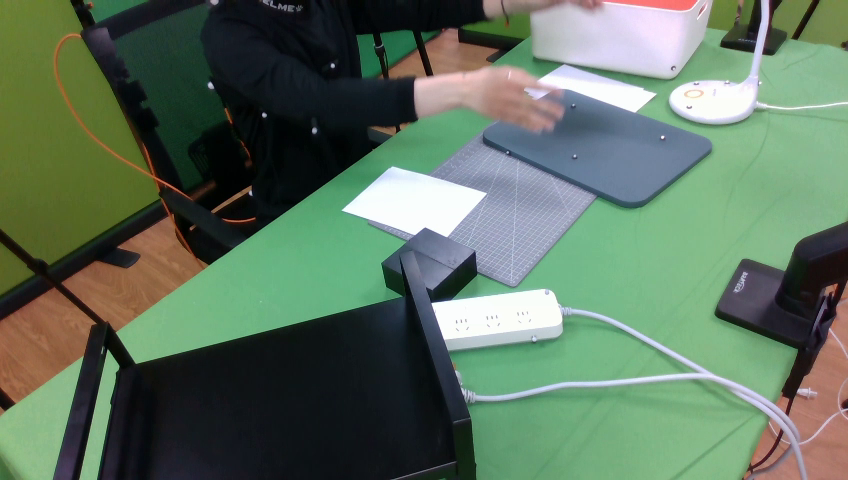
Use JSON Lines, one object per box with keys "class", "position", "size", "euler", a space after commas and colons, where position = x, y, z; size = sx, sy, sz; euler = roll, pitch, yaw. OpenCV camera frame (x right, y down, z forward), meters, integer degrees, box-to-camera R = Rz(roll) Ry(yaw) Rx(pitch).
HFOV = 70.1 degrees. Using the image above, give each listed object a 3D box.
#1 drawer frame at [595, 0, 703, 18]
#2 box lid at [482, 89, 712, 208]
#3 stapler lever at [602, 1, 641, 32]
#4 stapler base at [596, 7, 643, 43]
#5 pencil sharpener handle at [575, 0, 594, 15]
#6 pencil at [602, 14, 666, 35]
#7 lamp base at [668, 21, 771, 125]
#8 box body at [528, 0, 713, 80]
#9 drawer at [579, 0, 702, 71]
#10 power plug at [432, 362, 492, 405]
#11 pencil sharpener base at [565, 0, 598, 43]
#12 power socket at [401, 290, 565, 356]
{"class": "drawer frame", "position": [0.487, -0.490, 1.360], "size": [0.212, 0.083, 0.202], "euler": [24, 62, 20]}
{"class": "box lid", "position": [0.320, -0.190, 1.156], "size": [0.264, 0.015, 0.368], "euler": [-33, 47, -28]}
{"class": "stapler lever", "position": [0.451, -0.516, 1.378], "size": [0.118, 0.040, 0.026], "euler": [-39, 63, -18]}
{"class": "stapler base", "position": [0.453, -0.502, 1.397], "size": [0.131, 0.024, 0.041], "euler": [-39, 63, -19]}
{"class": "pencil sharpener handle", "position": [0.401, -0.594, 1.511], "size": [0.036, 0.067, 0.030], "euler": [37, 49, -1]}
{"class": "pencil", "position": [0.483, -0.494, 1.388], "size": [0.195, 0.012, 0.012], "euler": [-22, 42, -20]}
{"class": "lamp base", "position": [0.577, -0.333, 1.155], "size": [0.179, 0.181, 0.160], "euler": [6, 42, 12]}
{"class": "box body", "position": [0.450, -0.513, 1.398], "size": [0.361, 0.161, 0.254], "euler": [19, 48, 28]}
{"class": "drawer", "position": [0.484, -0.489, 1.361], "size": [0.210, 0.073, 0.194], "euler": [24, 63, 21]}
{"class": "power plug", "position": [0.045, 0.182, 0.758], "size": [0.073, 0.035, 0.052], "euler": [21, 43, -18]}
{"class": "pencil sharpener base", "position": [0.388, -0.550, 1.483], "size": [0.061, 0.107, 0.077], "euler": [14, 44, 23]}
{"class": "power socket", "position": [0.080, 0.112, 0.822], "size": [0.227, 0.033, 0.072], "euler": [-7, 41, 0]}
